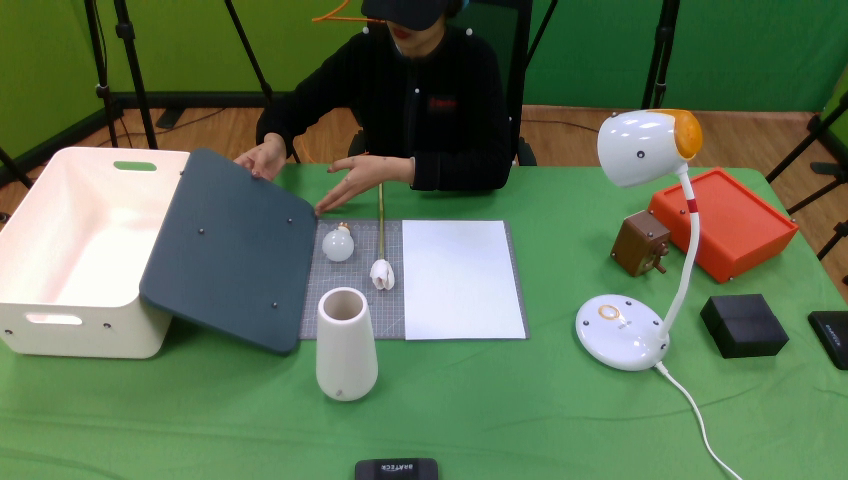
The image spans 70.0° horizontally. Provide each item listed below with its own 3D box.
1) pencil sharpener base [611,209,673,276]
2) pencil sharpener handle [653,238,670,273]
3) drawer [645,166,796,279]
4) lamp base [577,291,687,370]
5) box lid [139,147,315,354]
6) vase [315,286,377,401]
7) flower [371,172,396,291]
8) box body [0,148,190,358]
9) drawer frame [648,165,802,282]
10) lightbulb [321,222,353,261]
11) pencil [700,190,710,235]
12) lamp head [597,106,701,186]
[{"bbox_3d":[0.416,0.007,1.158,0.061,0.107,0.076,-21,51,-22],"label":"pencil sharpener base"},{"bbox_3d":[0.444,0.030,1.120,0.036,0.068,0.030,-25,52,-18],"label":"pencil sharpener handle"},{"bbox_3d":[0.600,-0.041,1.236,0.195,0.073,0.210,-21,51,-23],"label":"drawer"},{"bbox_3d":[0.361,0.110,1.003,0.160,0.181,0.178,-31,57,-28],"label":"lamp base"},{"bbox_3d":[-0.321,0.006,1.063,0.264,0.015,0.369,30,38,-29],"label":"box lid"},{"bbox_3d":[-0.119,0.159,0.911,0.098,0.201,0.097,2,47,-2],"label":"vase"},{"bbox_3d":[-0.090,-0.034,1.227,0.044,0.038,0.359,22,35,-25],"label":"flower"},{"bbox_3d":[-0.545,0.017,1.045,0.254,0.161,0.361,2,46,-2],"label":"box body"},{"bbox_3d":[0.603,-0.040,1.233,0.202,0.083,0.212,-21,51,-23],"label":"drawer frame"},{"bbox_3d":[-0.163,-0.001,1.164,0.059,0.060,0.107,4,30,0],"label":"lightbulb"},{"bbox_3d":[0.584,-0.059,1.256,0.012,0.012,0.193,16,34,12],"label":"pencil"},{"bbox_3d":[0.329,-0.138,0.865,0.112,0.113,0.122,-36,20,-32],"label":"lamp head"}]
